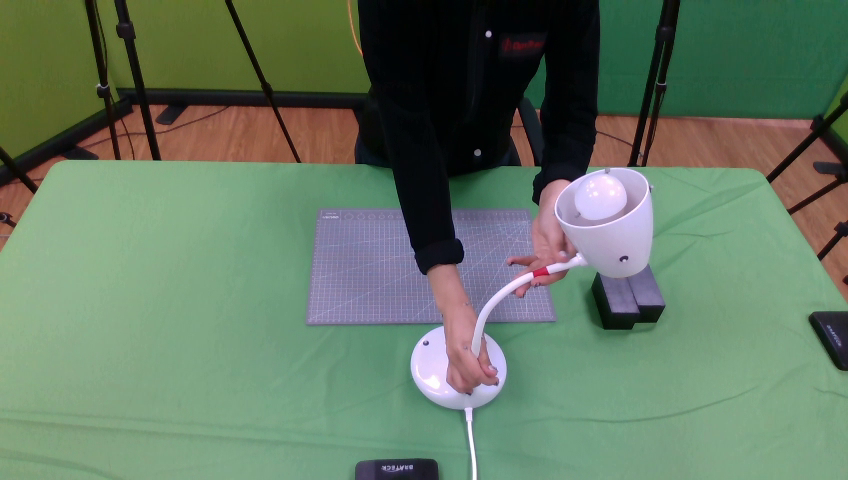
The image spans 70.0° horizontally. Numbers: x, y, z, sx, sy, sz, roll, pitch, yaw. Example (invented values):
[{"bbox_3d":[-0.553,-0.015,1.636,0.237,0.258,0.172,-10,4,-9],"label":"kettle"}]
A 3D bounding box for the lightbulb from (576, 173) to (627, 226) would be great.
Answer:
[{"bbox_3d":[0.223,-0.033,0.741,0.059,0.108,0.059,-21,32,14],"label":"lightbulb"}]

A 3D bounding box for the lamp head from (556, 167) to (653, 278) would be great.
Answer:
[{"bbox_3d":[0.229,-0.010,0.750,0.112,0.123,0.112,-16,35,12],"label":"lamp head"}]

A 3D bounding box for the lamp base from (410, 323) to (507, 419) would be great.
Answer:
[{"bbox_3d":[0.065,0.162,0.939,0.161,0.181,0.178,-9,50,-12],"label":"lamp base"}]
